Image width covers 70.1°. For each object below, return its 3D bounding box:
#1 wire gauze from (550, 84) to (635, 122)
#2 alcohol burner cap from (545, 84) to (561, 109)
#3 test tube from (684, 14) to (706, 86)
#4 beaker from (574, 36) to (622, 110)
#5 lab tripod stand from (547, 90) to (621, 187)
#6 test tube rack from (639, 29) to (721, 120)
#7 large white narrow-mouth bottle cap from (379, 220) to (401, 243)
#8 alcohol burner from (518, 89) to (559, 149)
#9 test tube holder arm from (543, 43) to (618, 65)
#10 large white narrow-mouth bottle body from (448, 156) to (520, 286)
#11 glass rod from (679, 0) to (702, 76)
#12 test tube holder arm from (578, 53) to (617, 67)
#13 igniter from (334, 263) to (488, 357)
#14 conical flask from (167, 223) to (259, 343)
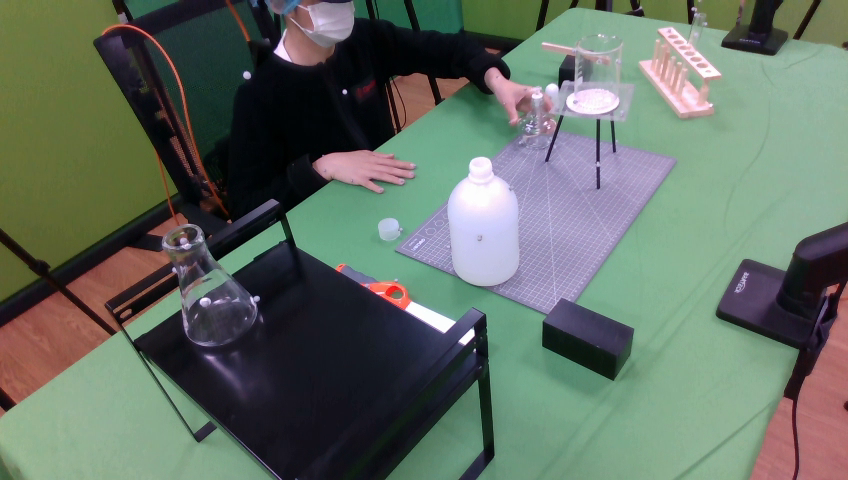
[{"bbox_3d":[0.285,-0.234,1.021,0.124,0.011,0.121,8,41,23],"label":"wire gauze"},{"bbox_3d":[0.274,-0.308,1.285,0.034,0.048,0.033,-5,42,5],"label":"alcohol burner cap"},{"bbox_3d":[0.540,-0.378,1.215,0.017,0.151,0.017,-2,44,3],"label":"test tube"},{"bbox_3d":[0.285,-0.273,0.990,0.073,0.101,0.084,15,46,27],"label":"beaker"},{"bbox_3d":[0.289,-0.184,1.063,0.148,0.132,0.147,-6,41,6],"label":"lab tripod stand"},{"bbox_3d":[0.527,-0.351,1.262,0.067,0.085,0.241,-8,40,1],"label":"test tube rack"},{"bbox_3d":[-0.057,-0.015,1.011,0.038,0.024,0.037,-4,40,4],"label":"large white narrow-mouth bottle cap"},{"bbox_3d":[0.218,-0.235,1.148,0.078,0.119,0.077,-5,43,5],"label":"alcohol burner"},{"bbox_3d":[0.345,-0.413,1.340,0.177,0.015,0.013,25,49,31],"label":"test tube holder arm"},{"bbox_3d":[0.086,-0.032,0.869,0.102,0.195,0.101,-4,40,4],"label":"large white narrow-mouth bottle body"},{"bbox_3d":[0.543,-0.417,1.233,0.008,0.200,0.008,1,39,0],"label":"glass rod"},{"bbox_3d":[0.376,-0.393,1.314,0.087,0.015,0.010,25,50,32],"label":"test tube holder arm"},{"bbox_3d":[-0.030,0.095,0.872,0.274,0.025,0.057,23,60,31],"label":"igniter"},{"bbox_3d":[-0.220,0.041,0.613,0.075,0.122,0.075,-5,40,4],"label":"conical flask"}]
